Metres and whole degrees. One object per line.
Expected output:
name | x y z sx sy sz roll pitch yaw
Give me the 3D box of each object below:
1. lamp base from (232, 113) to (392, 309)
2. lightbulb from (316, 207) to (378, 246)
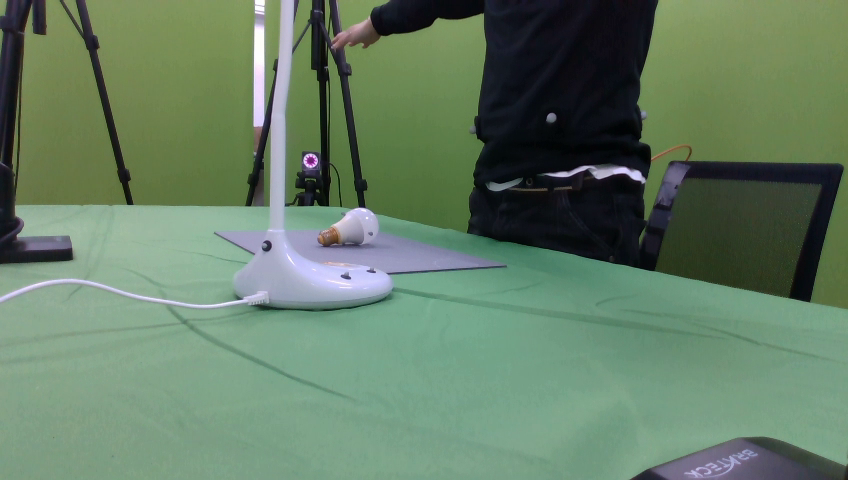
lamp base | -0.113 -0.032 0.595 0.160 0.180 0.179 4 10 17
lightbulb | -0.123 -0.016 0.968 0.108 0.059 0.059 -21 20 -33
